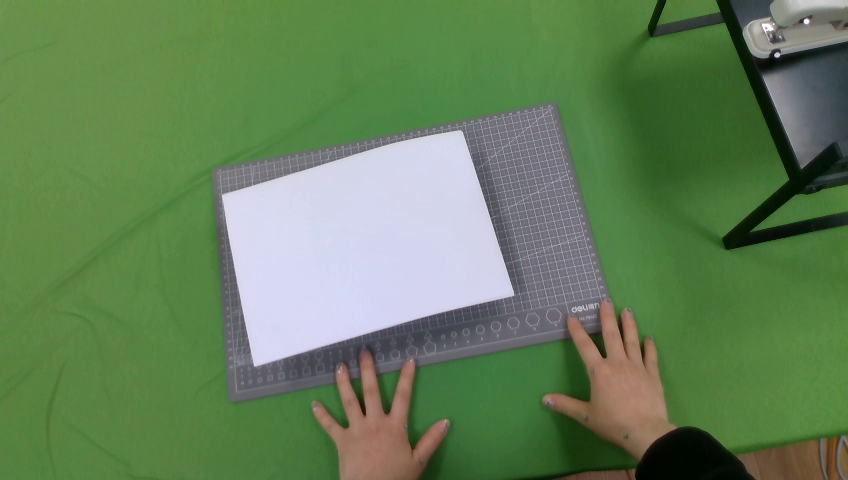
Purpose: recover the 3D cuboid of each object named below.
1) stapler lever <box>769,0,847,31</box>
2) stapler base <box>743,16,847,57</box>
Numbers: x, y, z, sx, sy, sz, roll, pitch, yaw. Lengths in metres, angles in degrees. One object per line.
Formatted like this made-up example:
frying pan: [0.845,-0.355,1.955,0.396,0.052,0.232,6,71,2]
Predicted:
stapler lever: [0.371,-0.215,0.547,0.118,0.040,0.026,-12,74,-1]
stapler base: [0.371,-0.206,0.570,0.130,0.024,0.041,-12,75,-1]
